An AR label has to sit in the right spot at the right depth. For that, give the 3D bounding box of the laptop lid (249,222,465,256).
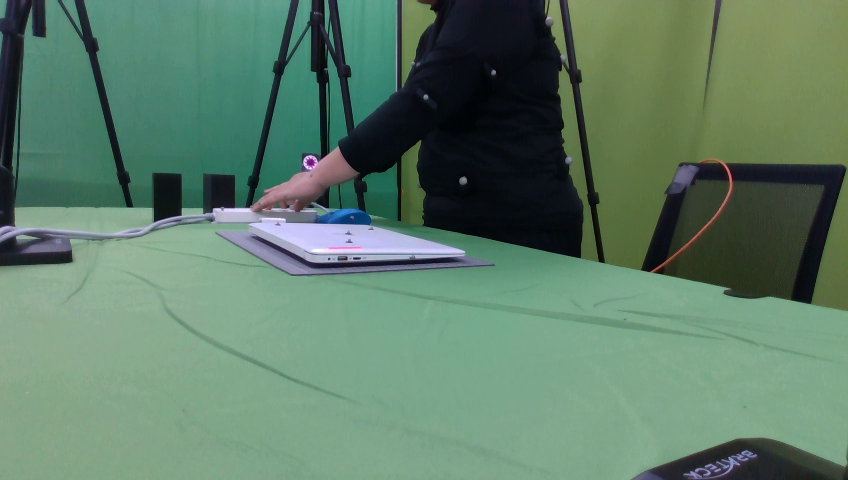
[{"bbox_3d":[-0.122,-0.005,0.954,0.243,0.013,0.355,2,7,-28],"label":"laptop lid"}]

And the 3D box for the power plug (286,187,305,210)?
[{"bbox_3d":[-0.286,-0.084,1.339,0.035,0.052,0.072,3,19,-22],"label":"power plug"}]

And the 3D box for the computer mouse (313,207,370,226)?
[{"bbox_3d":[-0.175,-0.047,1.291,0.118,0.041,0.062,-8,15,-33],"label":"computer mouse"}]

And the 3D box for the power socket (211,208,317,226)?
[{"bbox_3d":[-0.333,-0.050,1.279,0.228,0.032,0.072,-1,9,-27],"label":"power socket"}]

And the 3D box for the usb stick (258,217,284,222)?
[{"bbox_3d":[-0.291,-0.028,1.118,0.059,0.027,0.021,-4,12,-29],"label":"usb stick"}]

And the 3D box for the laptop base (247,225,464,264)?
[{"bbox_3d":[-0.125,0.006,0.955,0.237,0.023,0.352,2,6,-30],"label":"laptop base"}]
